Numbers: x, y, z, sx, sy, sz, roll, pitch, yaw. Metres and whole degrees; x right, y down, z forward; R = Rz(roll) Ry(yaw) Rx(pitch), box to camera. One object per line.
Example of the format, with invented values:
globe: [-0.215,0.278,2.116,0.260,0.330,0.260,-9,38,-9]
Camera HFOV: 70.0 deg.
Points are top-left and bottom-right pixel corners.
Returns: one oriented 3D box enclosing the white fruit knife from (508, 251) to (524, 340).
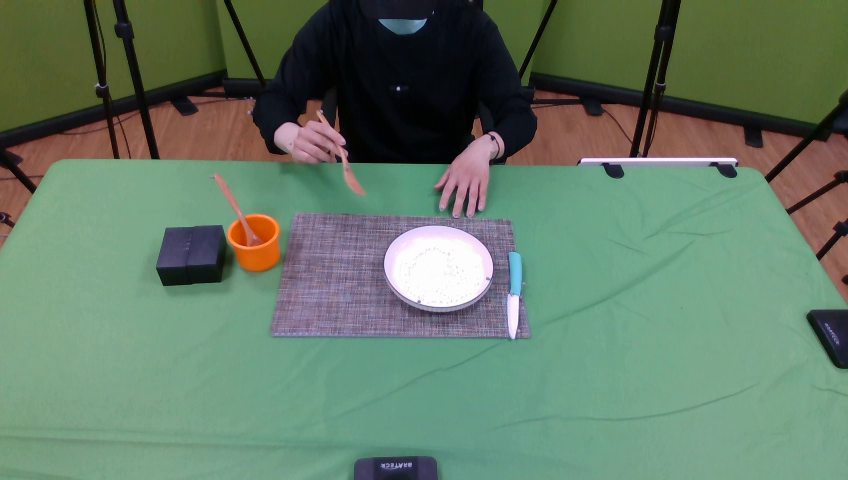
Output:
white fruit knife: [0.169,0.098,1.113,0.027,0.016,0.206,-13,43,23]

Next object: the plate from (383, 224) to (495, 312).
plate: [0.026,0.055,1.128,0.209,0.038,0.208,2,46,-2]

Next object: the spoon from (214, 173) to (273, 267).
spoon: [-0.336,-0.037,1.121,0.041,0.194,0.021,-29,10,-25]

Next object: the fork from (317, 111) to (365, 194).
fork: [-0.160,-0.166,1.137,0.028,0.018,0.206,-3,60,-47]
